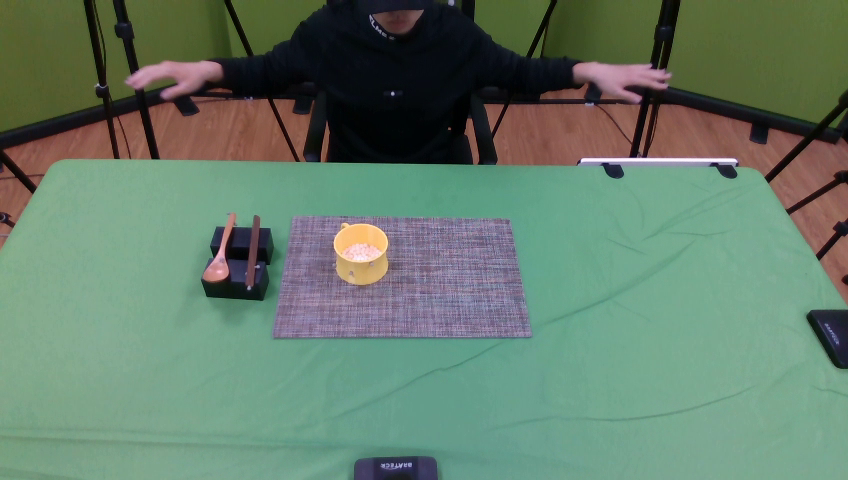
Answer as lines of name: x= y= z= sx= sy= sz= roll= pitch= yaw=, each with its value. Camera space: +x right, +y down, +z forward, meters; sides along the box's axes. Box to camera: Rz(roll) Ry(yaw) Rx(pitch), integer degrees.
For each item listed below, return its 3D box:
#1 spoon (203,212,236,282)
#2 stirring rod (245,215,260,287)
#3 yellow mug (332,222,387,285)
spoon: x=-0.361 y=0.009 z=1.097 sx=0.041 sy=0.022 sz=0.192 roll=-1 pitch=44 yaw=-2
stirring rod: x=-0.310 y=0.016 z=1.096 sx=0.014 sy=0.006 sz=0.175 roll=27 pitch=36 yaw=-32
yellow mug: x=-0.127 y=0.016 z=1.139 sx=0.100 sy=0.064 sz=0.130 roll=-23 pitch=51 yaw=-25
